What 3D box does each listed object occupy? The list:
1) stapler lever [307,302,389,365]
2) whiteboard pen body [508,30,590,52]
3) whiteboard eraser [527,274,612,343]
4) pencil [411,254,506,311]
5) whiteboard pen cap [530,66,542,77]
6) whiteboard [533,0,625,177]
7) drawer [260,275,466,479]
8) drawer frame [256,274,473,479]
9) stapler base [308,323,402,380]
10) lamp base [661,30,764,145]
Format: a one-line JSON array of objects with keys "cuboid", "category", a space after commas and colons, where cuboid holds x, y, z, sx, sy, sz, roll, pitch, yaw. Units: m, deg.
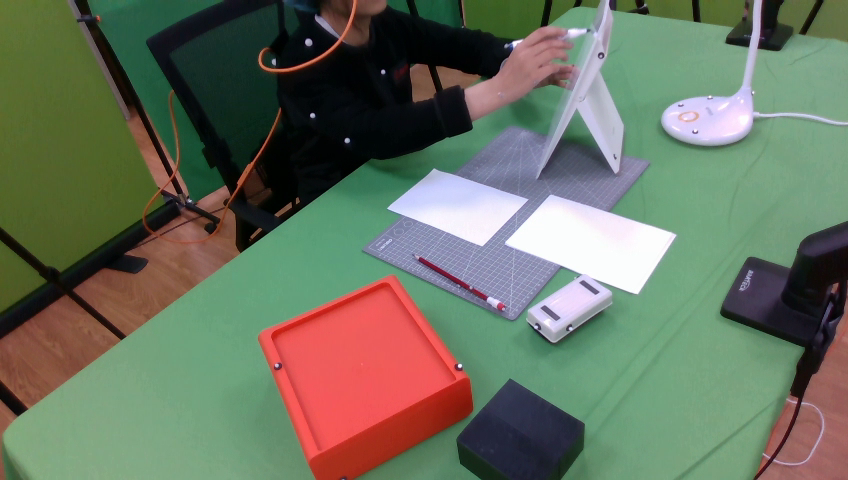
[{"cuboid": [-0.101, 0.121, 0.799, 0.118, 0.040, 0.026, -25, 29, -17], "category": "stapler lever"}, {"cuboid": [0.216, -0.347, 1.047, 0.140, 0.017, 0.017, -10, 40, 6], "category": "whiteboard pen body"}, {"cuboid": [0.198, 0.094, 0.820, 0.113, 0.042, 0.055, -29, 43, -22], "category": "whiteboard eraser"}, {"cuboid": [0.047, 0.060, 0.906, 0.012, 0.012, 0.192, -37, 46, -29], "category": "pencil"}, {"cuboid": [0.219, -0.328, 1.180, 0.018, 0.018, 0.033, 16, 11, 27], "category": "whiteboard pen cap"}, {"cuboid": [0.321, -0.258, 1.049, 0.144, 0.306, 0.217, 21, 45, 4], "category": "whiteboard"}, {"cuboid": [-0.080, 0.162, 0.759, 0.195, 0.073, 0.210, -22, 42, -16], "category": "drawer"}, {"cuboid": [-0.078, 0.163, 0.756, 0.202, 0.083, 0.211, -23, 43, -17], "category": "drawer frame"}, {"cuboid": [-0.094, 0.142, 0.812, 0.131, 0.024, 0.041, -25, 29, -17], "category": "stapler base"}, {"cuboid": [0.535, -0.287, 1.096, 0.179, 0.181, 0.159, -10, 40, -4], "category": "lamp base"}]
